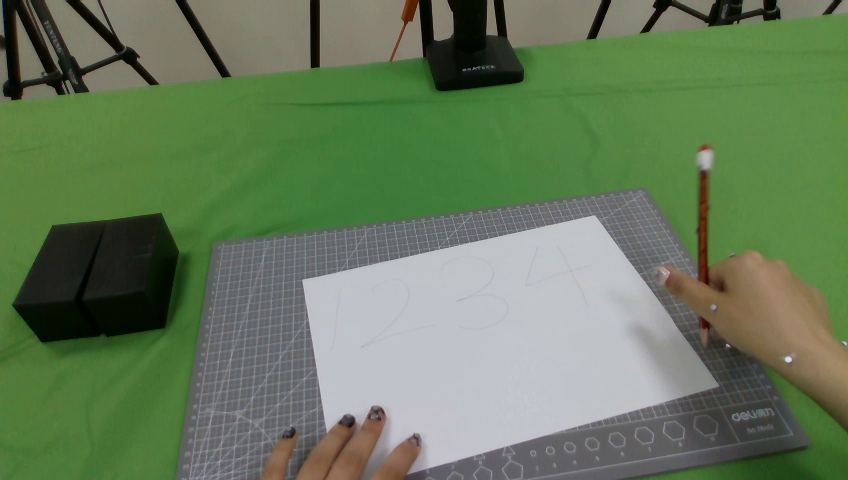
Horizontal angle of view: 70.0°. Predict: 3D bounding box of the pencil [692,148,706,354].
[{"bbox_3d":[0.227,0.002,0.499,0.012,0.012,0.192,8,62,11],"label":"pencil"}]
